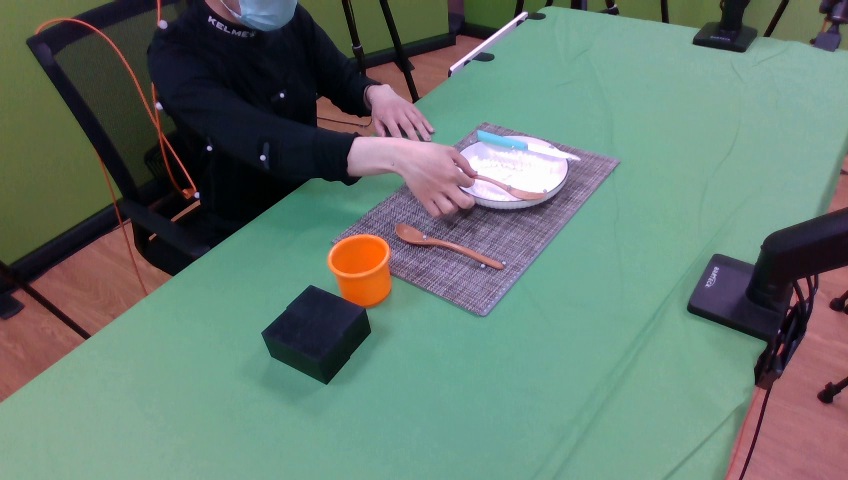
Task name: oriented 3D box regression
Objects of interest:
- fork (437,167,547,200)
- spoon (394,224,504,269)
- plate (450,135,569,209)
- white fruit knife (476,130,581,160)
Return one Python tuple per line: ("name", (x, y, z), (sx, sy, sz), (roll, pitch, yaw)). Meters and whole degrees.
("fork", (0.109, -0.097, 1.013), (0.206, 0.019, 0.028), (21, 43, 27))
("spoon", (0.037, 0.010, 0.945), (0.192, 0.022, 0.042), (18, 29, 26))
("plate", (0.149, -0.117, 1.065), (0.209, 0.038, 0.208), (-4, 41, 4))
("white fruit knife", (0.184, -0.170, 1.089), (0.206, 0.016, 0.027), (18, 43, 25))
